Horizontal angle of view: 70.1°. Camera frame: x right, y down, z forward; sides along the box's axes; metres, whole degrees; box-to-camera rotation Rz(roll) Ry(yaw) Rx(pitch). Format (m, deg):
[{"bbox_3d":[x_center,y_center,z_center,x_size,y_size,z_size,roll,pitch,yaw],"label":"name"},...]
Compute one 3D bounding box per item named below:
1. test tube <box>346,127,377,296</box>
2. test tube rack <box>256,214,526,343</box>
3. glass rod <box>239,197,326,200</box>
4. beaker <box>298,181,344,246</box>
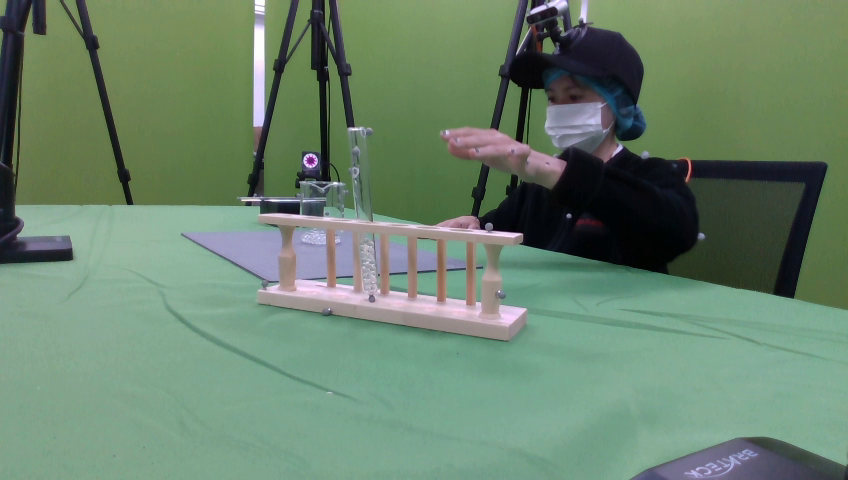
[{"bbox_3d":[-0.054,-0.023,0.529,0.017,0.150,0.017,-3,12,1],"label":"test tube"},{"bbox_3d":[-0.032,0.027,0.547,0.241,0.085,0.067,5,8,22],"label":"test tube rack"},{"bbox_3d":[-0.287,-0.087,1.250,0.201,0.008,0.008,-4,10,-42],"label":"glass rod"},{"bbox_3d":[-0.166,-0.043,0.972,0.074,0.100,0.084,1,8,-10],"label":"beaker"}]
